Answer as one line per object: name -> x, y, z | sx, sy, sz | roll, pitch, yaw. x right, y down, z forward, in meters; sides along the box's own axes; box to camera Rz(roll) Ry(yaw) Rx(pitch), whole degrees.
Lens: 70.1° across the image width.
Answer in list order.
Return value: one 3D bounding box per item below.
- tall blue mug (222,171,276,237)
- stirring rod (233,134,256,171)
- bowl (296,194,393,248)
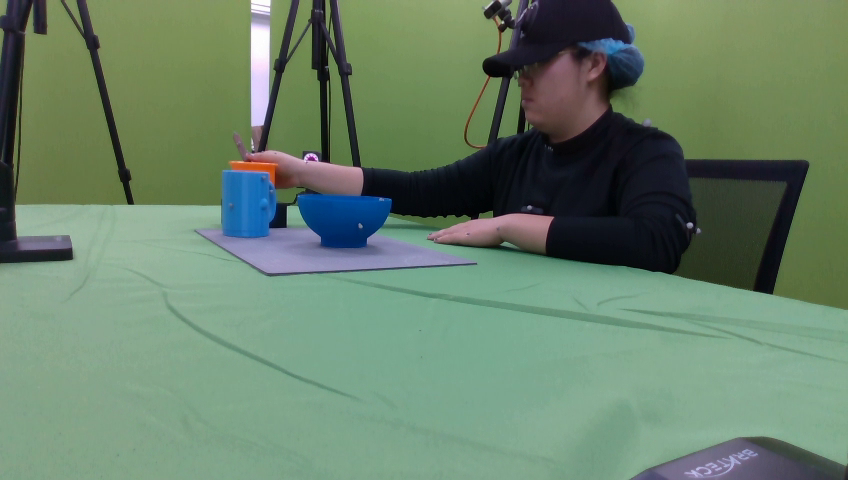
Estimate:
tall blue mug -> -0.303, -0.064, 1.043 | 0.078, 0.108, 0.107 | 1, 7, -4
stirring rod -> -0.345, -0.149, 1.198 | 0.014, 0.006, 0.175 | -11, 57, -33
bowl -> -0.127, -0.030, 0.963 | 0.151, 0.077, 0.151 | 2, 7, 0
